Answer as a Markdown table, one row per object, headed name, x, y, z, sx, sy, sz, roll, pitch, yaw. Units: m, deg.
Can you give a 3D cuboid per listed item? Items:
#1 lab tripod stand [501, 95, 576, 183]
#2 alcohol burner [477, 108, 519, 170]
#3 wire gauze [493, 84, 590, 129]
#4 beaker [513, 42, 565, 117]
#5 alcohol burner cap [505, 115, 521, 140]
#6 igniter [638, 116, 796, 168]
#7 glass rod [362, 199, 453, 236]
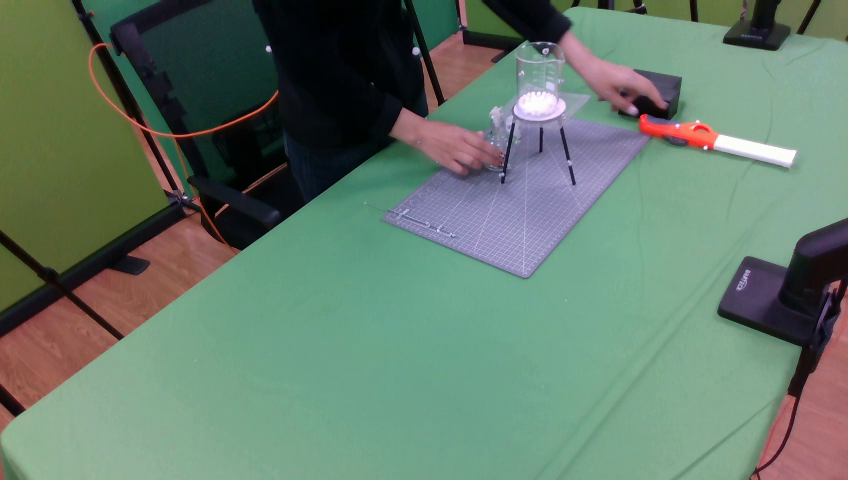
| name | x | y | z | sx | sy | sz | roll | pitch | yaw |
| --- | --- | --- | --- | --- | --- | --- | --- | --- | --- |
| lab tripod stand | 0.204 | -0.174 | 1.057 | 0.148 | 0.132 | 0.147 | -4 | 40 | 4 |
| alcohol burner | 0.135 | -0.188 | 1.102 | 0.078 | 0.119 | 0.077 | -4 | 41 | 4 |
| wire gauze | 0.197 | -0.223 | 1.013 | 0.120 | 0.011 | 0.125 | 21 | 46 | 28 |
| beaker | 0.187 | -0.258 | 0.981 | 0.083 | 0.101 | 0.074 | 21 | 49 | 29 |
| alcohol burner cap | 0.175 | -0.224 | 1.193 | 0.034 | 0.048 | 0.033 | -6 | 40 | 5 |
| igniter | 0.517 | -0.181 | 1.093 | 0.274 | 0.025 | 0.057 | 23 | 65 | 32 |
| glass rod | -0.031 | -0.041 | 1.041 | 0.198 | 0.008 | 0.008 | 22 | 50 | 31 |
